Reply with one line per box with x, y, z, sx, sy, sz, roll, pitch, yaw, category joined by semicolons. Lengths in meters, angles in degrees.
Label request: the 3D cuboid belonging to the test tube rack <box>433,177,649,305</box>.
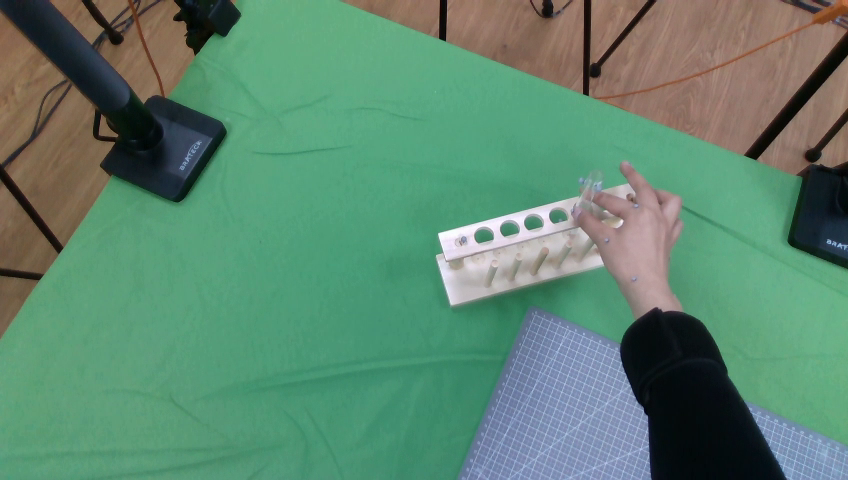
0.136;0.003;0.704;0.242;0.086;0.066;-15;70;-6;test tube rack

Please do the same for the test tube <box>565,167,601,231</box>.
0.172;-0.041;0.667;0.017;0.151;0.017;-1;70;4;test tube
